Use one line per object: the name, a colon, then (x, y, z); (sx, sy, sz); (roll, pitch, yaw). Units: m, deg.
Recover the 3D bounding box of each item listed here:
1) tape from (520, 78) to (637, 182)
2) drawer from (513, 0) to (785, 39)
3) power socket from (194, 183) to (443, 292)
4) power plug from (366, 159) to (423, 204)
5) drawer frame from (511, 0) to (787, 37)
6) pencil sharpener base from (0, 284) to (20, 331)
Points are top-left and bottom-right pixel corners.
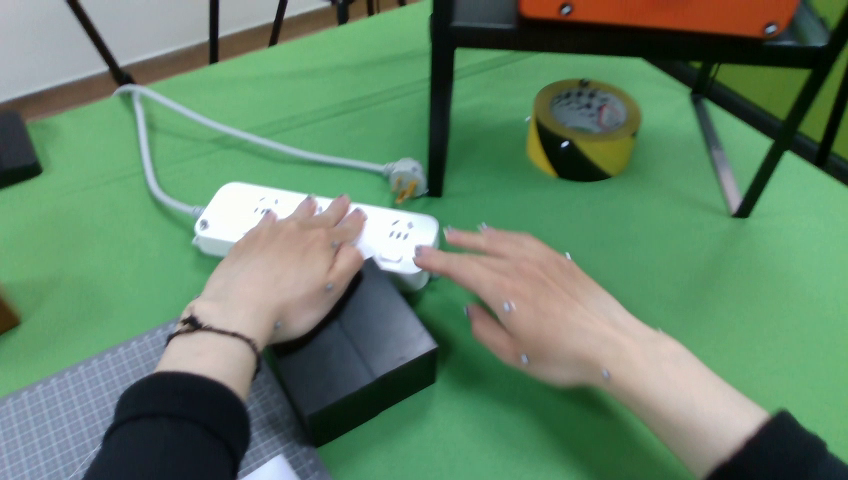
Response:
tape: (0.162, -0.118, 0.640); (0.117, 0.053, 0.115); (1, 48, 0)
drawer: (0.177, -0.256, 0.505); (0.194, 0.074, 0.210); (5, 47, 4)
power socket: (-0.095, -0.004, 0.544); (0.226, 0.033, 0.071); (10, 48, 8)
power plug: (-0.032, -0.054, 0.604); (0.072, 0.035, 0.052); (-17, 35, 39)
drawer frame: (0.177, -0.261, 0.507); (0.201, 0.083, 0.211); (4, 47, 3)
pencil sharpener base: (-0.372, 0.034, 0.451); (0.061, 0.108, 0.076); (37, 57, 28)
